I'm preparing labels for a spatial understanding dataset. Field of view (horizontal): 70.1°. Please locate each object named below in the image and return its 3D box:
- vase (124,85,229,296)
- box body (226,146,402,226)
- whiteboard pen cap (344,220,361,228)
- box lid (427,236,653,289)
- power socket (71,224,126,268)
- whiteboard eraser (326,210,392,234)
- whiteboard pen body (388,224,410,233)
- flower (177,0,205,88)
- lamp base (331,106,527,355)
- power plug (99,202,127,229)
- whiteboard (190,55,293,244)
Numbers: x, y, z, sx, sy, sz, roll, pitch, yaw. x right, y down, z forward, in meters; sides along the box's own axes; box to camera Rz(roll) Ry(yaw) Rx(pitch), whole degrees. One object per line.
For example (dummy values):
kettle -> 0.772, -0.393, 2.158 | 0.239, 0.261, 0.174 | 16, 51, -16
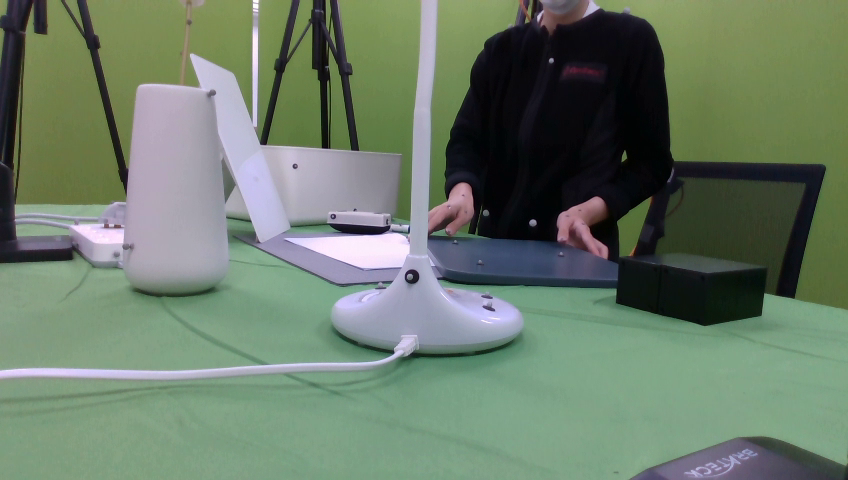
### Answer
vase -> -0.244, -0.047, 0.598 | 0.098, 0.200, 0.098 | 3, 8, 0
box body -> -0.254, -0.128, 1.379 | 0.253, 0.160, 0.366 | 8, 9, 36
whiteboard pen cap -> -0.144, -0.032, 1.230 | 0.033, 0.018, 0.018 | 6, 8, 17
box lid -> 0.139, 0.028, 0.886 | 0.264, 0.015, 0.371 | 2, 7, -6
power socket -> -0.409, 0.004, 0.793 | 0.072, 0.032, 0.225 | -2, 8, -37
whiteboard eraser -> -0.121, -0.034, 1.131 | 0.112, 0.042, 0.056 | 4, 9, 13
whiteboard pen body -> -0.088, -0.026, 1.214 | 0.140, 0.017, 0.017 | 5, 8, 18
flower -> -0.243, -0.131, 0.609 | 0.044, 0.361, 0.038 | -5, -12, 11
lamp base -> 0.006, -0.012, 0.478 | 0.161, 0.180, 0.179 | 2, 10, 2
power plug -> -0.415, -0.026, 0.848 | 0.073, 0.052, 0.035 | 6, 5, -27
whiteboard -> -0.362, -0.129, 1.029 | 0.144, 0.305, 0.217 | -18, 7, 3
